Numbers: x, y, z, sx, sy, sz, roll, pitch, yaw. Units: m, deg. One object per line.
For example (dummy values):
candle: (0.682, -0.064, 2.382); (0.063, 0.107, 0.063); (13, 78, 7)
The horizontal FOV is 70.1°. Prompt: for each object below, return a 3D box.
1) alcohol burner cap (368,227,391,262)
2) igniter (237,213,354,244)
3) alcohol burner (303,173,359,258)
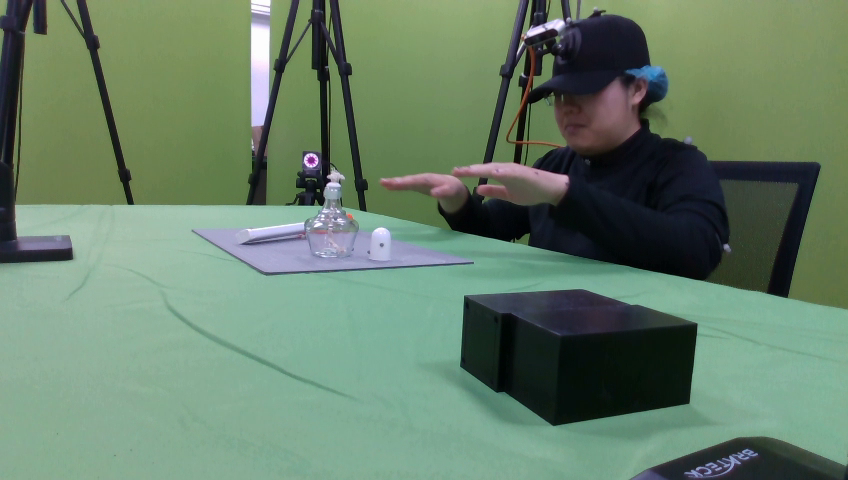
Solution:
alcohol burner cap: (-0.060, 0.006, 0.837); (0.034, 0.048, 0.034); (3, 7, 0)
igniter: (-0.206, -0.021, 1.034); (0.057, 0.025, 0.278); (-19, -2, 30)
alcohol burner: (-0.130, -0.035, 0.850); (0.078, 0.119, 0.078); (2, 5, 0)
